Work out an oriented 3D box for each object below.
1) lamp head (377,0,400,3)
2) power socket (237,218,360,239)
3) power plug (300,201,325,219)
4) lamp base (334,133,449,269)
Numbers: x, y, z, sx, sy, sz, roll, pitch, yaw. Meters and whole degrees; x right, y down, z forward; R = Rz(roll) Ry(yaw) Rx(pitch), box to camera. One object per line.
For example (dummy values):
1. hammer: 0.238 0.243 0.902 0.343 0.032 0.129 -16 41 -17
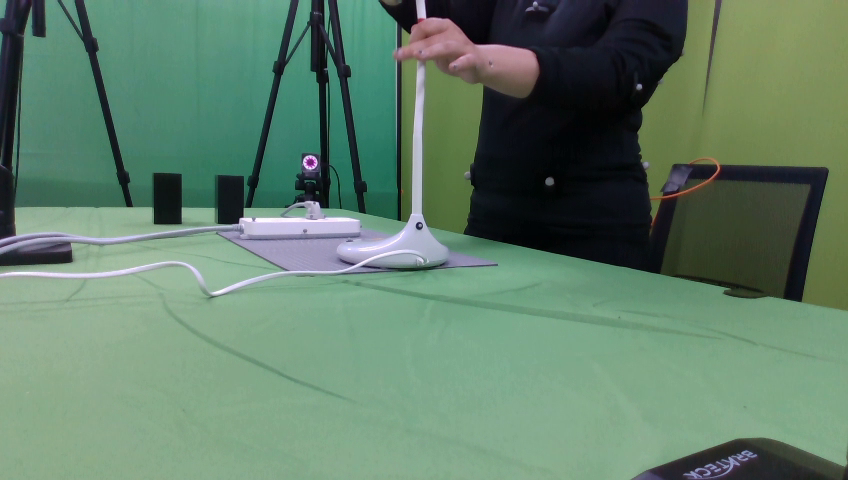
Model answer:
1. lamp head: -0.026 -0.376 0.798 0.113 0.112 0.122 -2 15 -34
2. power socket: -0.220 -0.023 1.080 0.228 0.032 0.072 -2 8 -33
3. power plug: -0.207 -0.046 1.120 0.035 0.052 0.072 1 4 -22
4. lamp base: -0.034 -0.057 0.830 0.161 0.180 0.178 -3 12 -36
